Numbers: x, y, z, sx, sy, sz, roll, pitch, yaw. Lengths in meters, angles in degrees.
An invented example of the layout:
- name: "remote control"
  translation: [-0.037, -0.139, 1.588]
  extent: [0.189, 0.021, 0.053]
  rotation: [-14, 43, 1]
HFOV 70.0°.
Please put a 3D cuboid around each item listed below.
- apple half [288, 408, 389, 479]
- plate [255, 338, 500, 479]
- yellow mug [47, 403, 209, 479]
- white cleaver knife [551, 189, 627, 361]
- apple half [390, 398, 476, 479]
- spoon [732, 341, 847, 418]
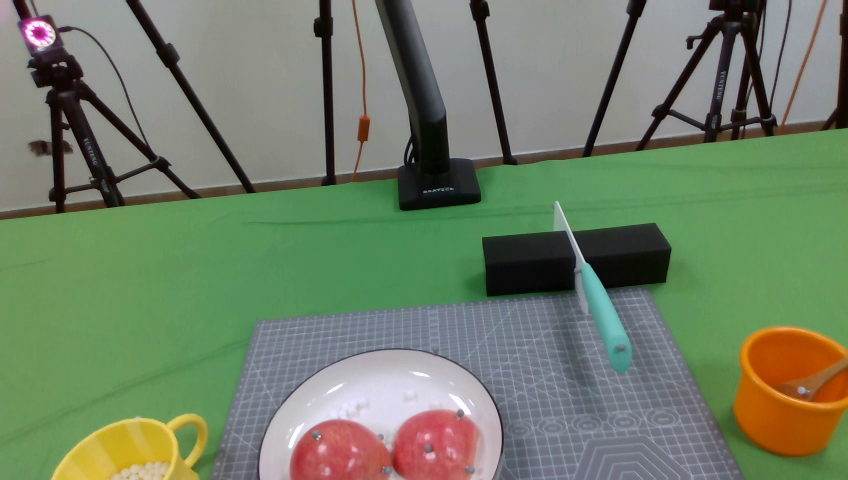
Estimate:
- name: "apple half"
  translation: [-0.074, 0.172, 0.503]
  extent: [0.074, 0.054, 0.081]
  rotation: [25, 47, 39]
- name: "plate"
  translation: [-0.038, 0.172, 0.525]
  extent: [0.209, 0.038, 0.207]
  rotation: [-4, 37, 3]
- name: "yellow mug"
  translation: [-0.236, 0.190, 0.511]
  extent: [0.099, 0.064, 0.130]
  rotation: [17, 41, 29]
- name: "white cleaver knife"
  translation: [0.172, 0.031, 0.662]
  extent: [0.021, 0.066, 0.284]
  rotation: [-8, 32, 5]
- name: "apple half"
  translation: [0.006, 0.162, 0.520]
  extent: [0.081, 0.033, 0.080]
  rotation: [-3, 39, 3]
- name: "spoon"
  translation: [0.341, 0.092, 0.490]
  extent: [0.022, 0.194, 0.041]
  rotation: [33, 32, -23]
